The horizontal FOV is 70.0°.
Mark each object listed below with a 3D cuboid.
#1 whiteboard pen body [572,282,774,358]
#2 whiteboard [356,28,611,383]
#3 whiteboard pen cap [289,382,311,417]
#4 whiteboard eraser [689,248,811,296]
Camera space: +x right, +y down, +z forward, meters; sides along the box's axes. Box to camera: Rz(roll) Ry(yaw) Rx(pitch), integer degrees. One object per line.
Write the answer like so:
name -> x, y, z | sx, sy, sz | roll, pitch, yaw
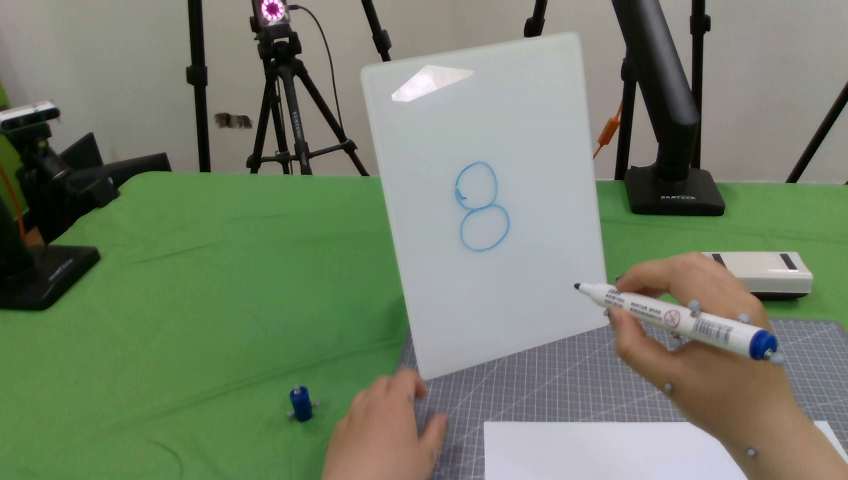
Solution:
whiteboard pen body -> 0.133, 0.041, 0.349 | 0.017, 0.017, 0.139 | -21, 17, -23
whiteboard -> 0.052, -0.043, 0.645 | 0.218, 0.306, 0.143 | -14, 14, -13
whiteboard pen cap -> -0.116, 0.149, 0.564 | 0.018, 0.033, 0.018 | -2, 35, 2
whiteboard eraser -> 0.360, 0.036, 0.675 | 0.112, 0.042, 0.055 | 1, 36, 6
